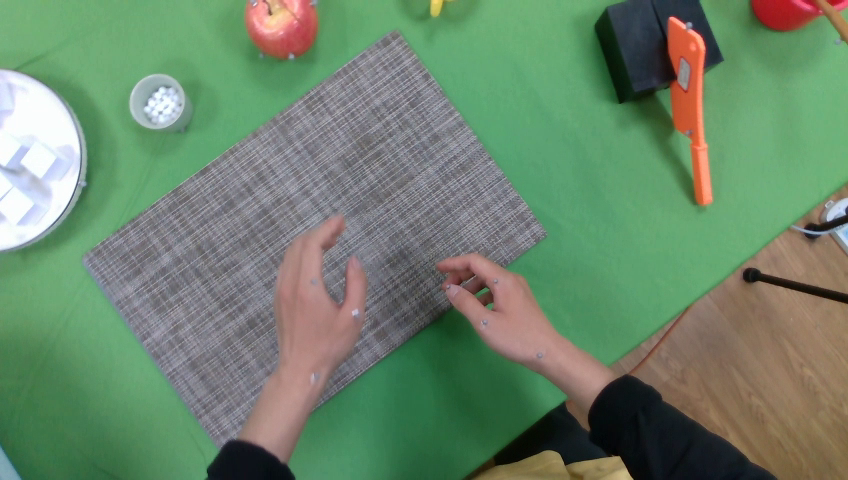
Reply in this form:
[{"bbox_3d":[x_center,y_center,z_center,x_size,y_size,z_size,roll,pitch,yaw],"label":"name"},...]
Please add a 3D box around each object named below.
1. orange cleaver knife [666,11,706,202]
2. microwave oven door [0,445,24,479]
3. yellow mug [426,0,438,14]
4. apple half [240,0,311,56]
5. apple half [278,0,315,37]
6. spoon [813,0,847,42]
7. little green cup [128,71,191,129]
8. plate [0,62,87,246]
[{"bbox_3d":[0.291,-0.144,0.676,0.012,0.076,0.213,-17,118,2],"label":"orange cleaver knife"},{"bbox_3d":[-0.428,0.313,0.556,0.039,0.244,0.355,-34,88,-2],"label":"microwave oven door"},{"bbox_3d":[0.020,-0.322,0.685,0.100,0.064,0.130,11,89,0],"label":"yellow mug"},{"bbox_3d":[-0.172,-0.238,0.678,0.053,0.074,0.081,-45,93,3],"label":"apple half"},{"bbox_3d":[-0.145,-0.267,0.678,0.081,0.081,0.033,45,93,1],"label":"apple half"},{"bbox_3d":[0.418,-0.259,0.650,0.041,0.022,0.192,-2,44,1],"label":"spoon"},{"bbox_3d":[-0.299,-0.157,0.691,0.061,0.038,0.061,0,88,0],"label":"little green cup"},{"bbox_3d":[-0.483,-0.094,0.687,0.208,0.039,0.207,0,88,-1],"label":"plate"}]
